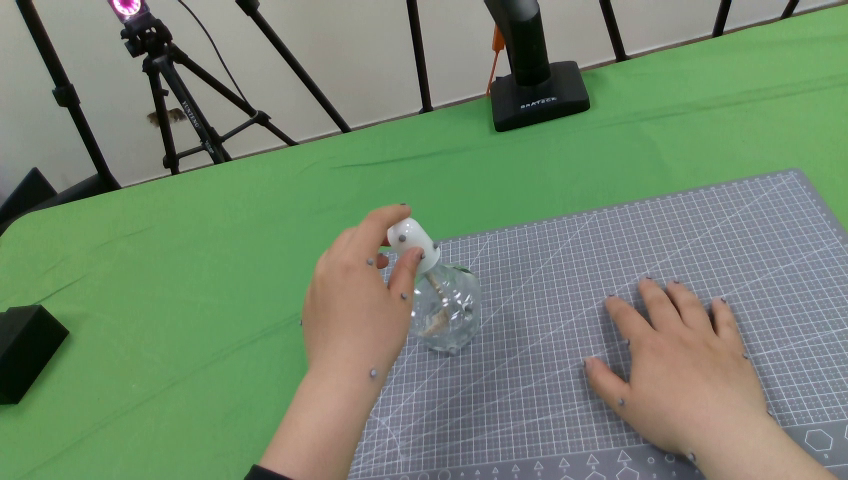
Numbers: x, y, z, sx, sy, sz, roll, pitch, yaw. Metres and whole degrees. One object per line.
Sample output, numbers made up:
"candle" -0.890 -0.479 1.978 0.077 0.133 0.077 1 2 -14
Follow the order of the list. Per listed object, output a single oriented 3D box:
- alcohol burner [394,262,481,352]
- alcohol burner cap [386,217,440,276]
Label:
"alcohol burner" 0.007 0.040 0.513 0.078 0.120 0.077 -11 41 10
"alcohol burner cap" -0.011 0.002 0.477 0.034 0.048 0.033 -17 44 18
